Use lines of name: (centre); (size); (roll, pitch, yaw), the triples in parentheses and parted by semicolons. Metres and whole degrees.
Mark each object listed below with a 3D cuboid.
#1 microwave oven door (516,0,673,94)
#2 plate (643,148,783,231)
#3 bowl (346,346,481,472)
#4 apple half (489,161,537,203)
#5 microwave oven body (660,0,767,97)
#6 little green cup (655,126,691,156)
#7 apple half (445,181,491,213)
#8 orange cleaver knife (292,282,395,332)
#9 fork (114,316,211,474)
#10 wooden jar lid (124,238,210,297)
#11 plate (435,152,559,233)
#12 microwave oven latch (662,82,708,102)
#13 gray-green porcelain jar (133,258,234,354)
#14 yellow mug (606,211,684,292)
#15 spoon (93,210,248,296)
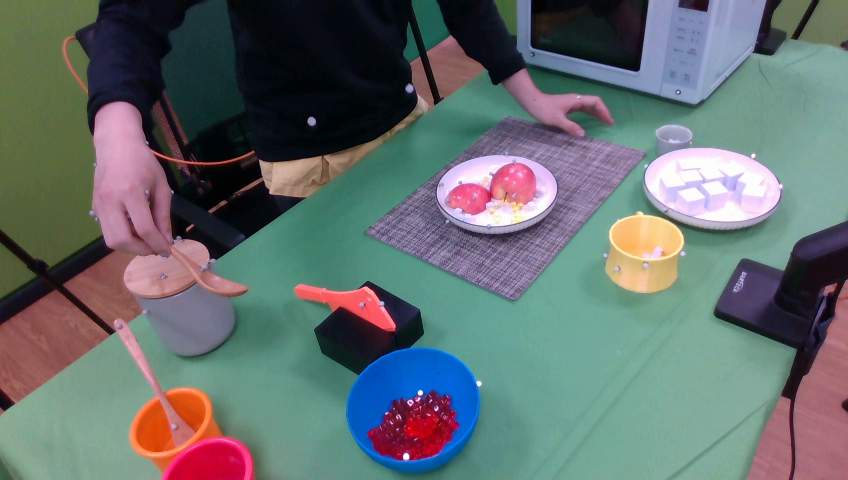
microwave oven door: (0.344, -0.458, 1.257); (0.353, 0.245, 0.039); (26, 52, 33)
plate: (0.464, -0.080, 0.986); (0.207, 0.039, 0.206); (-4, 41, 4)
bowl: (-0.008, 0.205, 0.691); (0.151, 0.077, 0.150); (-4, 40, 4)
apple half: (0.154, -0.106, 1.030); (0.080, 0.053, 0.075); (22, 46, 31)
microwave oven body: (0.474, -0.517, 1.313); (0.438, 0.261, 0.327); (26, 51, 34)
little green cup: (0.450, -0.177, 1.099); (0.061, 0.039, 0.061); (-5, 39, 4)
apple half: (0.077, -0.083, 1.029); (0.081, 0.033, 0.081); (-2, 42, 2)
orange cleaver knife: (-0.115, 0.091, 0.835); (0.209, 0.077, 0.012); (2, 33, 48)
fork: (-0.309, 0.179, 0.708); (0.028, 0.018, 0.207); (-29, 89, -25)
wooden jar lid: (-0.335, 0.039, 0.794); (0.108, 0.021, 0.108); (-2, 40, 2)
plate: (0.124, -0.078, 1.026); (0.209, 0.038, 0.208); (-4, 40, 4)
microwave oven latch: (0.518, -0.298, 1.203); (0.078, 0.029, 0.030); (28, 53, 35)
gray-green porcelain jar: (-0.328, 0.086, 0.836); (0.106, 0.127, 0.105); (-4, 41, 4)
yellow mug: (0.318, 0.008, 0.883); (0.100, 0.064, 0.130); (0, 40, 9)
spoon: (-0.279, 0.013, 0.663); (0.193, 0.021, 0.042); (31, 10, 5)
